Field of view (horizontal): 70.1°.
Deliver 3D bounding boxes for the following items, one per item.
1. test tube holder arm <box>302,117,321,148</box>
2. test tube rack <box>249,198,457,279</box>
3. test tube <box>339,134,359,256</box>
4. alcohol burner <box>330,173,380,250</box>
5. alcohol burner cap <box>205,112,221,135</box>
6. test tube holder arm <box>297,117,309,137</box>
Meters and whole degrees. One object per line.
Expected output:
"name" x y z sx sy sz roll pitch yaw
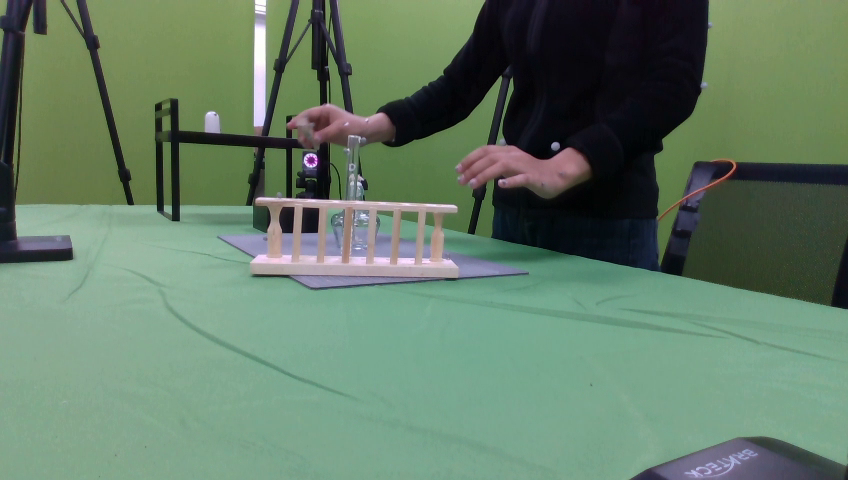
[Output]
"test tube holder arm" -0.192 -0.182 1.037 0.013 0.015 0.178 6 -3 -1
"test tube rack" -0.082 -0.002 0.732 0.243 0.085 0.066 2 8 -7
"test tube" -0.092 -0.054 0.743 0.017 0.150 0.017 4 5 0
"alcohol burner" -0.107 -0.044 0.938 0.078 0.119 0.078 1 6 0
"alcohol burner cap" -0.443 -0.245 1.270 0.034 0.048 0.034 3 8 0
"test tube holder arm" -0.196 -0.185 0.992 0.010 0.015 0.088 6 -3 -3
